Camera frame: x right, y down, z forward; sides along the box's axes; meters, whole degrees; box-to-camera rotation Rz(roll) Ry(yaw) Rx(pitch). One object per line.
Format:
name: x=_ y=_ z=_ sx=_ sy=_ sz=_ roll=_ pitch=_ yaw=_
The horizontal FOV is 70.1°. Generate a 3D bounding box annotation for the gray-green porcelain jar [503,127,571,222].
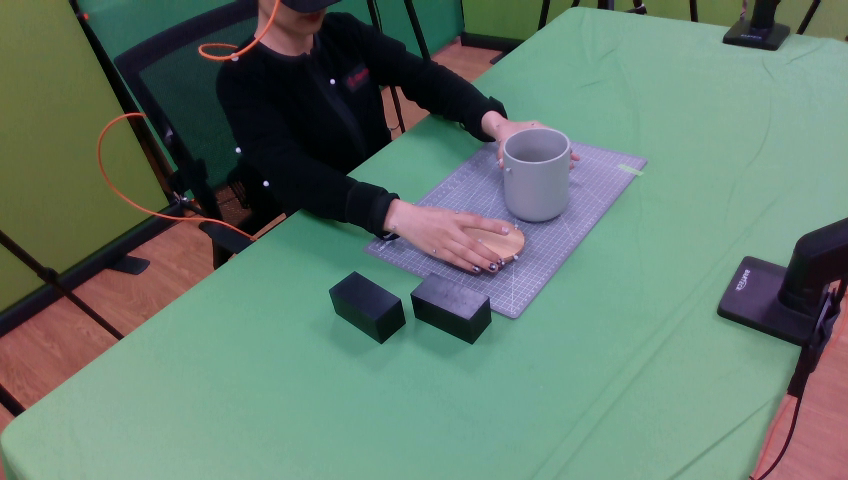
gray-green porcelain jar: x=0.184 y=-0.102 z=0.983 sx=0.106 sy=0.127 sz=0.105 roll=-6 pitch=40 yaw=5

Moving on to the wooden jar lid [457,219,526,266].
wooden jar lid: x=0.105 y=0.005 z=0.947 sx=0.108 sy=0.021 sz=0.108 roll=0 pitch=37 yaw=0
